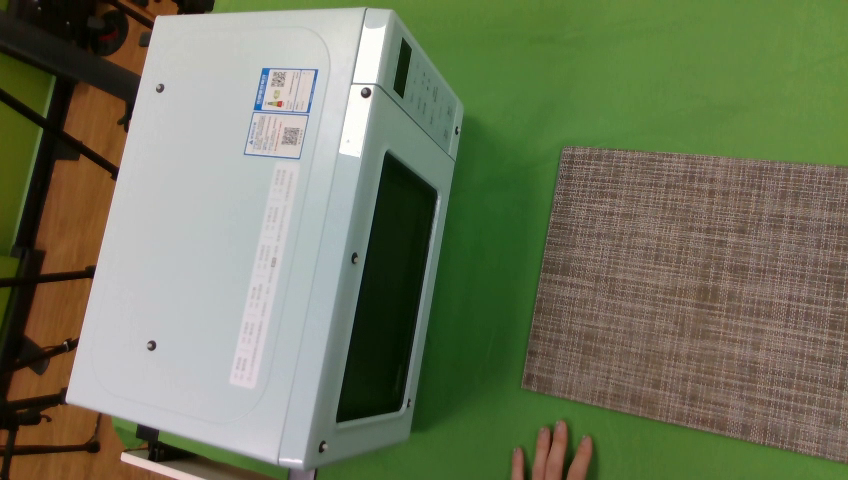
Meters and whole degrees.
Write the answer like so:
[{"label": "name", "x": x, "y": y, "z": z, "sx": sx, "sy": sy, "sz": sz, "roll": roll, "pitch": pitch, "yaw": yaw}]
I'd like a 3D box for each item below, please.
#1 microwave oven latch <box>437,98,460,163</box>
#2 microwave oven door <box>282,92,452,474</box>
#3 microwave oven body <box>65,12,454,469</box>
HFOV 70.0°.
[{"label": "microwave oven latch", "x": 0.026, "y": -0.141, "z": 0.777, "sx": 0.030, "sy": 0.030, "sz": 0.079, "roll": 8, "pitch": 83, "yaw": 22}, {"label": "microwave oven door", "x": -0.048, "y": 0.053, "z": 0.658, "sx": 0.039, "sy": 0.245, "sz": 0.354, "roll": 6, "pitch": 82, "yaw": 22}, {"label": "microwave oven body", "x": -0.174, "y": -0.001, "z": 0.721, "sx": 0.324, "sy": 0.262, "sz": 0.440, "roll": 6, "pitch": 83, "yaw": 21}]
